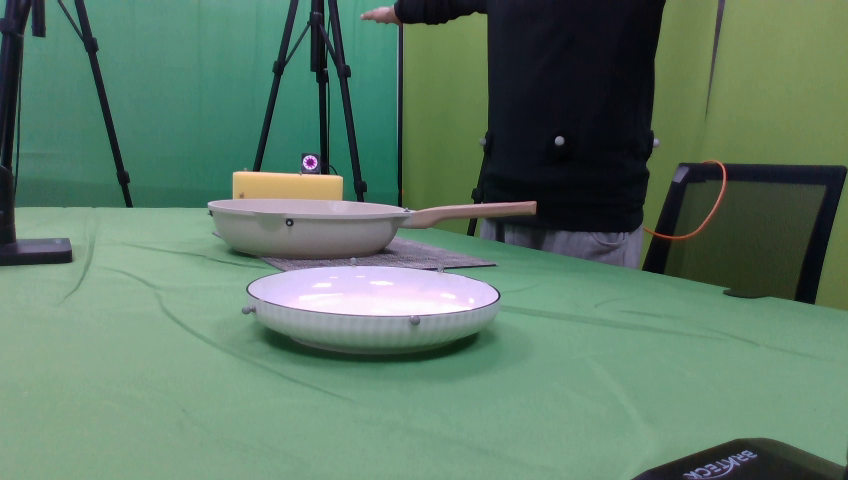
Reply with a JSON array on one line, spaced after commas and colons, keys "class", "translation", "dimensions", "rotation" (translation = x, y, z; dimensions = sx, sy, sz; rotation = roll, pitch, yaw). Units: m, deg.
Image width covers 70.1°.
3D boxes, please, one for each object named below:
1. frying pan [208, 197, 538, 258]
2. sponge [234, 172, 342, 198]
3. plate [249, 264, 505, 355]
[{"class": "frying pan", "translation": [-0.075, -0.034, 0.912], "dimensions": [0.487, 0.102, 0.307], "rotation": [-5, 7, 11]}, {"class": "sponge", "translation": [-0.273, -0.105, 1.224], "dimensions": [0.207, 0.061, 0.118], "rotation": [0, 7, -14]}, {"class": "plate", "translation": [-0.038, 0.056, 0.504], "dimensions": [0.208, 0.039, 0.207], "rotation": [2, 7, 0]}]
